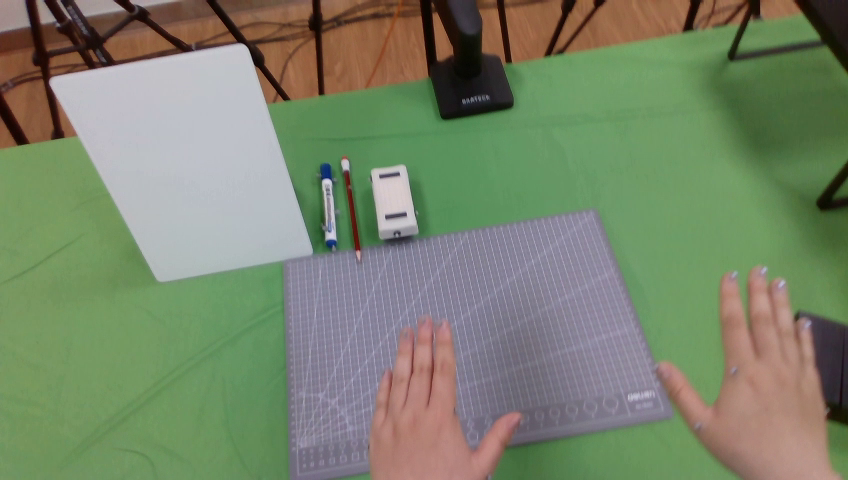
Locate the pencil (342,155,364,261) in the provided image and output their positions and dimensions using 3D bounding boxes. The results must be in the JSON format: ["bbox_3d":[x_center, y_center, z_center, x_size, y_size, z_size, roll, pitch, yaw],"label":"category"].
[{"bbox_3d":[-0.104,-0.050,0.885,0.012,0.012,0.192,-12,59,-3],"label":"pencil"}]

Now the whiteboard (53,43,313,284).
[{"bbox_3d":[-0.285,-0.118,0.801,0.217,0.308,0.142,-9,39,-1],"label":"whiteboard"}]

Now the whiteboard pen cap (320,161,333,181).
[{"bbox_3d":[-0.147,-0.102,0.915,0.018,0.018,0.033,-10,57,-2],"label":"whiteboard pen cap"}]

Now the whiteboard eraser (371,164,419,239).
[{"bbox_3d":[-0.043,-0.055,0.867,0.055,0.042,0.111,-10,59,-1],"label":"whiteboard eraser"}]

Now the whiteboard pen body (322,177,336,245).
[{"bbox_3d":[-0.140,-0.053,0.886,0.017,0.017,0.139,-8,58,-1],"label":"whiteboard pen body"}]
